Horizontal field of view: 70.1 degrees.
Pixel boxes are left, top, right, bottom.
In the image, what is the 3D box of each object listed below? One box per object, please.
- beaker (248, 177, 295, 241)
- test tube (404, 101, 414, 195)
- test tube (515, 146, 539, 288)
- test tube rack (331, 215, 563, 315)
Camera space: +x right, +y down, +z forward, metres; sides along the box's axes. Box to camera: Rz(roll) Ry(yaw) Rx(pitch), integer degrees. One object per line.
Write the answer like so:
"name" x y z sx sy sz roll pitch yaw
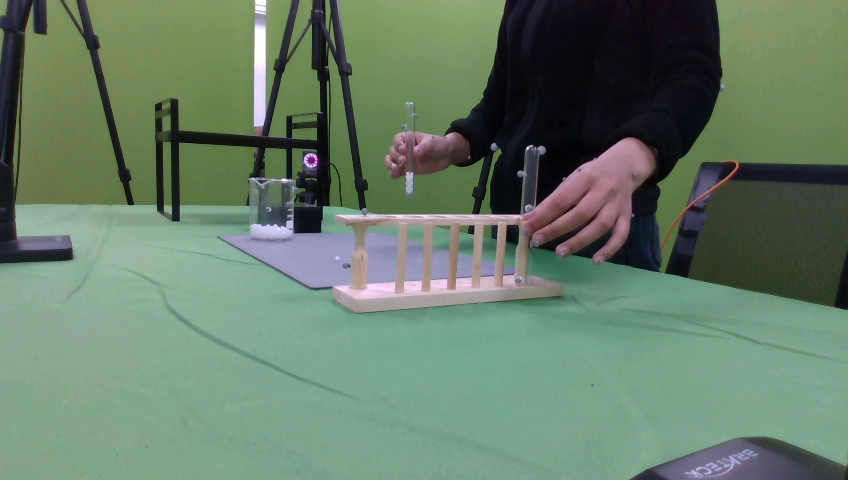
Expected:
"beaker" -0.252 -0.051 0.992 0.074 0.100 0.084 3 9 6
"test tube" -0.024 -0.147 0.975 0.017 0.150 0.017 1 14 0
"test tube" 0.109 -0.024 0.638 0.017 0.150 0.017 3 6 0
"test tube rack" 0.031 0.020 0.625 0.243 0.085 0.066 -1 8 -28
